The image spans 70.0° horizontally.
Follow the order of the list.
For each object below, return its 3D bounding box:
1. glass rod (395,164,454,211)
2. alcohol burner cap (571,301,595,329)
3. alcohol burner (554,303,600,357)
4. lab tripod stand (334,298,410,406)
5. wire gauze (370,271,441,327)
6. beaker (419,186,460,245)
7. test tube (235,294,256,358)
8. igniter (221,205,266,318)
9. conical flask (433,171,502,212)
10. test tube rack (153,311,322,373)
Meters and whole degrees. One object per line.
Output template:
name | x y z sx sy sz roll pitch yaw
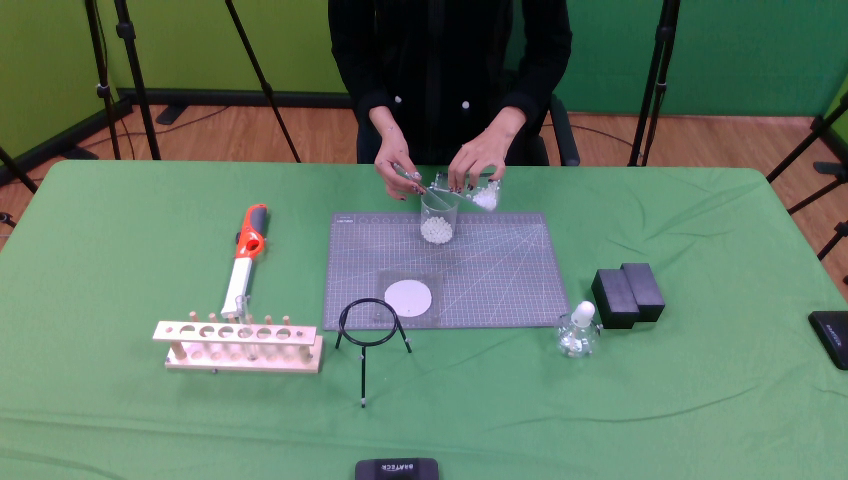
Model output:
glass rod | 0.005 -0.093 1.119 0.008 0.201 0.008 -14 62 29
alcohol burner cap | 0.262 0.120 0.991 0.034 0.048 0.033 2 52 -2
alcohol burner | 0.260 0.143 1.018 0.078 0.119 0.077 3 45 -3
lab tripod stand | -0.085 0.164 0.957 0.148 0.132 0.147 3 44 -2
wire gauze | -0.032 0.103 1.104 0.125 0.011 0.121 4 46 3
beaker | 0.025 -0.047 1.190 0.074 0.101 0.083 -29 54 -28
test tube | -0.274 0.136 0.933 0.017 0.151 0.017 4 46 -4
igniter | -0.338 0.030 1.140 0.057 0.025 0.274 -5 46 3
conical flask | 0.079 -0.099 1.121 0.122 0.075 0.075 11 46 -3
test tube rack | -0.293 0.160 0.978 0.242 0.085 0.066 3 46 -2
